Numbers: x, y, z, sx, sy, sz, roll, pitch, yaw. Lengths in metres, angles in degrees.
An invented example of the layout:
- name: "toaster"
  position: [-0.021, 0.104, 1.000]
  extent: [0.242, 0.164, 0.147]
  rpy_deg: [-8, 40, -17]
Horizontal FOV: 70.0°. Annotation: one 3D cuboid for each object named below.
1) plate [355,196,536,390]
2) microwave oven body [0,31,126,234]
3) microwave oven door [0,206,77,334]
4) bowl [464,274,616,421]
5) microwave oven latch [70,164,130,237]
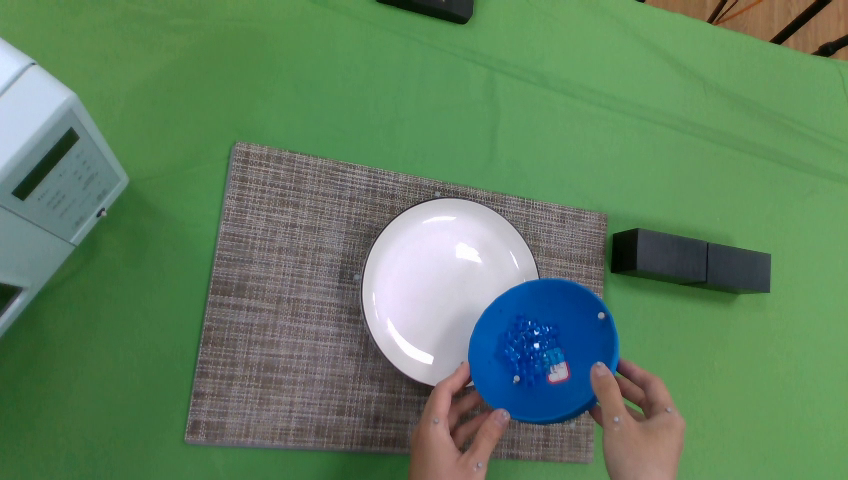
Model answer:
- name: "plate"
  position: [0.024, 0.057, 0.663]
  extent: [0.208, 0.039, 0.207]
  rpy_deg: [3, 82, -18]
- name: "microwave oven body"
  position: [-0.484, 0.002, 0.382]
  extent: [0.327, 0.259, 0.440]
  rpy_deg: [36, 74, -12]
- name: "microwave oven door"
  position: [-0.388, 0.120, 0.394]
  extent: [0.039, 0.243, 0.355]
  rpy_deg: [36, 74, -10]
- name: "bowl"
  position: [0.125, 0.118, 0.613]
  extent: [0.151, 0.150, 0.077]
  rpy_deg: [-57, 138, -16]
- name: "microwave oven latch"
  position: [-0.303, -0.042, 0.550]
  extent: [0.030, 0.029, 0.079]
  rpy_deg: [38, 74, -11]
